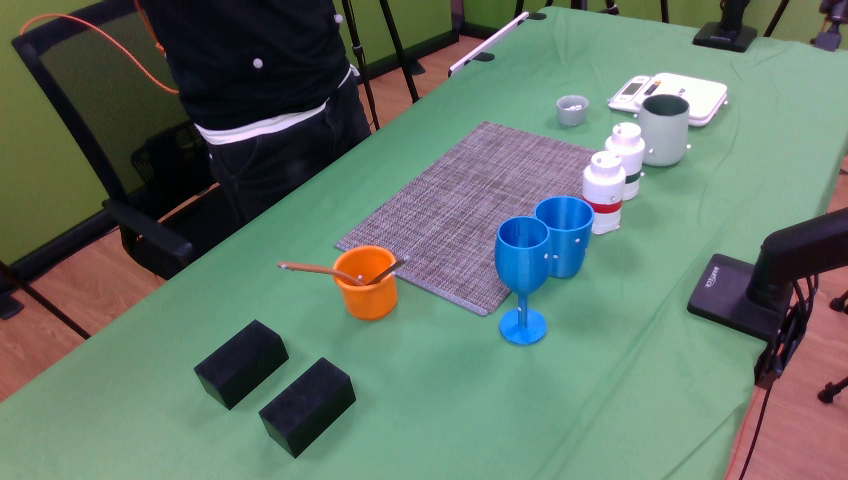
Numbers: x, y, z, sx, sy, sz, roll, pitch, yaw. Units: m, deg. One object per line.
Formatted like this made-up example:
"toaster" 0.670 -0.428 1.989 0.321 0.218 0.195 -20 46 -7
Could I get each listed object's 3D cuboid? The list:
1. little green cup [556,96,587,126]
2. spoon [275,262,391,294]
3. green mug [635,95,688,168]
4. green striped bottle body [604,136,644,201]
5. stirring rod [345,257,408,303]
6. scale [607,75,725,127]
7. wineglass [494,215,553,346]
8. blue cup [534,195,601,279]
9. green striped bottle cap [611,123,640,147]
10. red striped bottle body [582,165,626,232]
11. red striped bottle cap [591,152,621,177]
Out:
"little green cup" 0.295 -0.258 1.214 0.061 0.039 0.061 -4 42 4
"spoon" -0.120 0.050 0.830 0.041 0.195 0.021 31 97 45
"green mug" 0.421 -0.201 1.081 0.092 0.105 0.125 5 42 15
"green striped bottle body" 0.326 -0.128 0.997 0.063 0.120 0.063 -4 41 4
"stirring rod" -0.067 0.057 0.815 0.014 0.175 0.006 -24 82 -38
"scale" 0.490 -0.287 1.226 0.199 0.032 0.149 22 48 30
"wineglass" 0.126 0.055 0.770 0.074 0.173 0.073 -4 40 4
"blue cup" 0.201 0.000 0.879 0.092 0.100 0.092 -3 39 3
"green striped bottle cap" 0.322 -0.168 0.963 0.044 0.020 0.044 -4 41 4
"red striped bottle body" 0.279 -0.075 0.942 0.063 0.120 0.062 -5 41 4
"red striped bottle cap" 0.273 -0.114 0.907 0.044 0.018 0.044 -5 39 5
